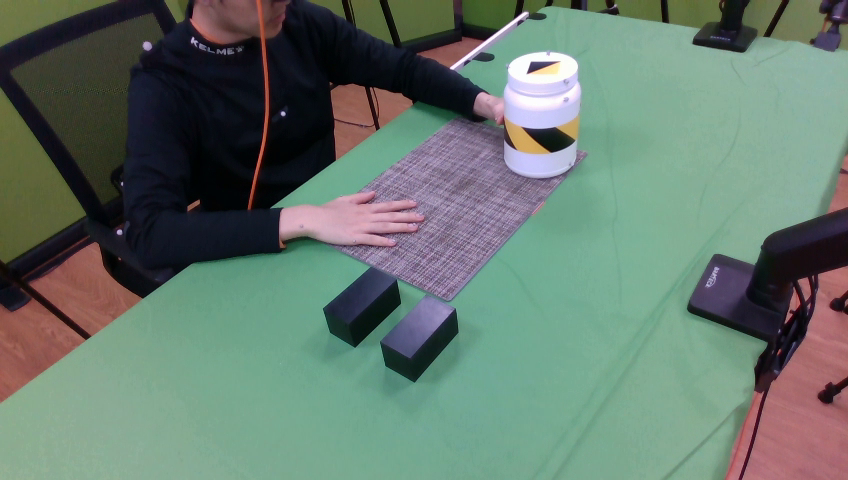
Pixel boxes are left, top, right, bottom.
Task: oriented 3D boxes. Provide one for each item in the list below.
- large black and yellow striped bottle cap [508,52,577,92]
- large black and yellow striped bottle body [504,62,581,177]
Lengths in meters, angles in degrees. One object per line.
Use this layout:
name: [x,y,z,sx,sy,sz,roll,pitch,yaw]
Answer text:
large black and yellow striped bottle cap: [0.198,-0.281,1.008,0.115,0.019,0.114,-4,42,4]
large black and yellow striped bottle body: [0.206,-0.218,1.061,0.131,0.185,0.130,-4,41,4]
